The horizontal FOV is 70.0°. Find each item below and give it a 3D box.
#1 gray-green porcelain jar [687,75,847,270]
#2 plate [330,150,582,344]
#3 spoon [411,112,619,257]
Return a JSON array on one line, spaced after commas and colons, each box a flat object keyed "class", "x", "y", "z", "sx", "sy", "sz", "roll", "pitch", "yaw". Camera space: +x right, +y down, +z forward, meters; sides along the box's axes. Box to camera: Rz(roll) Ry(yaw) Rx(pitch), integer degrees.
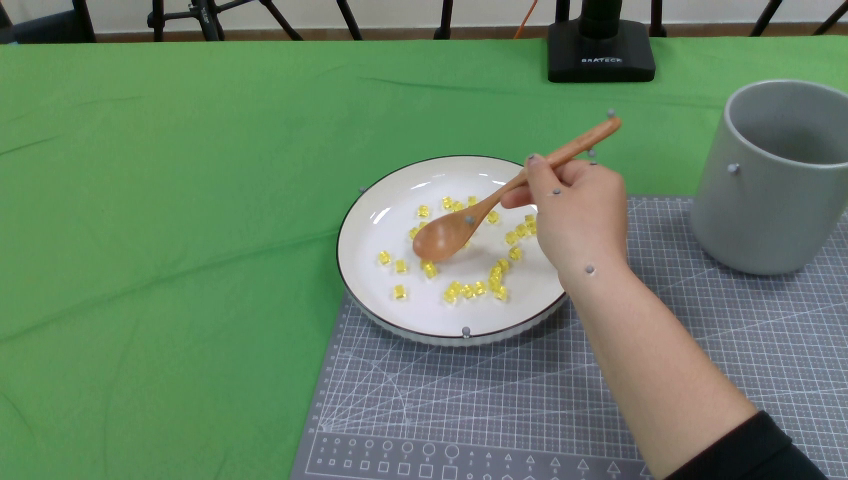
[{"class": "gray-green porcelain jar", "x": 0.272, "y": -0.047, "z": 0.477, "sx": 0.106, "sy": 0.128, "sz": 0.105, "roll": -3, "pitch": 48, "yaw": 4}, {"class": "plate", "x": 0.027, "y": 0.004, "z": 0.516, "sx": 0.207, "sy": 0.039, "sz": 0.205, "roll": -2, "pitch": 48, "yaw": 3}, {"class": "spoon", "x": 0.068, "y": -0.042, "z": 0.482, "sx": 0.194, "sy": 0.022, "sz": 0.041, "roll": -35, "pitch": 50, "yaw": 24}]
